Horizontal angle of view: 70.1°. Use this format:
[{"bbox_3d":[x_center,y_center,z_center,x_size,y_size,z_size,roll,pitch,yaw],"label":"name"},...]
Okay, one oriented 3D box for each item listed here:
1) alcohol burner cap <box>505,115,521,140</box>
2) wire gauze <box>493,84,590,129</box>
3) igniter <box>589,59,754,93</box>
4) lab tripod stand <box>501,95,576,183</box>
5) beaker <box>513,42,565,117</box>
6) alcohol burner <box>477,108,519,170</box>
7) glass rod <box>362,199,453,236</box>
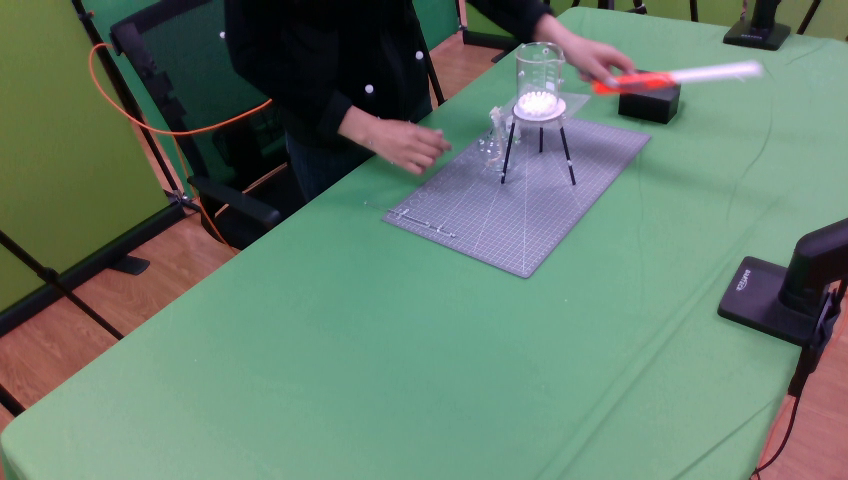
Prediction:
[{"bbox_3d":[0.175,-0.224,1.193,0.034,0.048,0.033,-6,39,5],"label":"alcohol burner cap"},{"bbox_3d":[0.197,-0.223,1.013,0.120,0.011,0.125,21,46,28],"label":"wire gauze"},{"bbox_3d":[0.410,-0.279,1.034,0.274,0.025,0.057,2,20,39],"label":"igniter"},{"bbox_3d":[0.204,-0.174,1.057,0.148,0.132,0.147,-4,40,4],"label":"lab tripod stand"},{"bbox_3d":[0.187,-0.257,0.981,0.083,0.101,0.074,21,49,29],"label":"beaker"},{"bbox_3d":[0.135,-0.188,1.102,0.078,0.119,0.077,-4,41,4],"label":"alcohol burner"},{"bbox_3d":[-0.031,-0.041,1.041,0.198,0.008,0.008,22,50,31],"label":"glass rod"}]
